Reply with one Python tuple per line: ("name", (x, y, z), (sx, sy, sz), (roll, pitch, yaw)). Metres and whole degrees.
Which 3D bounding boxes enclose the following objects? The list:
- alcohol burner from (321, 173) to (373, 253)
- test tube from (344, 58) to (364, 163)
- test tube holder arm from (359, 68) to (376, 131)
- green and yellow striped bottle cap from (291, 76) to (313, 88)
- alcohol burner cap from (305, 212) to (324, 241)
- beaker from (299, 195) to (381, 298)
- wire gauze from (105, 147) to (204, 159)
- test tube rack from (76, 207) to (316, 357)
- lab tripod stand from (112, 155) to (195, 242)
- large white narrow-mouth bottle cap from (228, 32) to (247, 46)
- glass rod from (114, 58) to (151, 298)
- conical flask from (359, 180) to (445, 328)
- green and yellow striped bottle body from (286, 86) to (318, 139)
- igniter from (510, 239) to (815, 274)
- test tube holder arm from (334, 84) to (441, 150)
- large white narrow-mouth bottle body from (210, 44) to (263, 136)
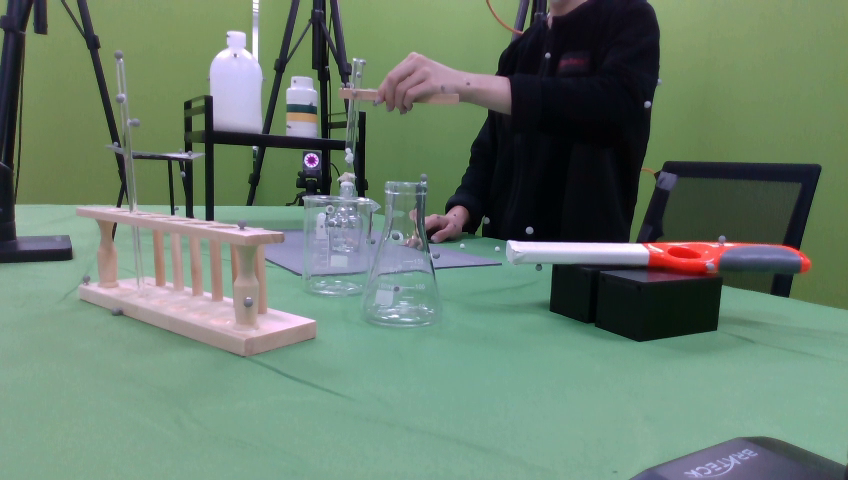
("alcohol burner", (-0.115, -0.041, 0.905), (0.078, 0.119, 0.078), (0, 6, 0))
("test tube", (-0.101, -0.184, 0.867), (0.017, 0.150, 0.017), (8, 22, -3))
("test tube holder arm", (-0.078, -0.198, 0.849), (0.010, 0.087, 0.015), (-9, -1, -31))
("green and yellow striped bottle cap", (-0.250, -0.321, 1.237), (0.045, 0.020, 0.045), (4, 5, 0))
("alcohol burner cap", (-0.185, -0.023, 1.027), (0.034, 0.048, 0.034), (2, 7, 0))
("beaker", (-0.087, 0.006, 0.626), (0.084, 0.100, 0.074), (1, 8, -17))
("wire gauze", (-0.407, -0.131, 0.929), (0.125, 0.011, 0.121), (2, 6, -11))
("test tube rack", (-0.196, 0.023, 0.500), (0.241, 0.085, 0.067), (8, 9, 36))
("lab tripod stand", (-0.405, -0.064, 0.931), (0.148, 0.131, 0.148), (1, 6, 0))
("large white narrow-mouth bottle cap", (-0.364, -0.390, 1.180), (0.038, 0.024, 0.037), (3, 8, 0))
("glass rod", (-0.236, -0.044, 0.493), (0.008, 0.199, 0.008), (1, 16, 0))
("conical flask", (-0.017, 0.010, 0.522), (0.075, 0.122, 0.075), (2, 7, 0))
("green and yellow striped bottle body", (-0.251, -0.270, 1.245), (0.063, 0.119, 0.063), (2, 7, 0))
("igniter", (0.220, 0.015, 0.565), (0.277, 0.025, 0.057), (2, 16, -1))
("test tube holder arm", (-0.048, -0.174, 0.866), (0.179, 0.013, 0.015), (24, -21, -28))
("large white narrow-mouth bottle body", (-0.369, -0.305, 1.194), (0.102, 0.194, 0.102), (3, 8, 0))
